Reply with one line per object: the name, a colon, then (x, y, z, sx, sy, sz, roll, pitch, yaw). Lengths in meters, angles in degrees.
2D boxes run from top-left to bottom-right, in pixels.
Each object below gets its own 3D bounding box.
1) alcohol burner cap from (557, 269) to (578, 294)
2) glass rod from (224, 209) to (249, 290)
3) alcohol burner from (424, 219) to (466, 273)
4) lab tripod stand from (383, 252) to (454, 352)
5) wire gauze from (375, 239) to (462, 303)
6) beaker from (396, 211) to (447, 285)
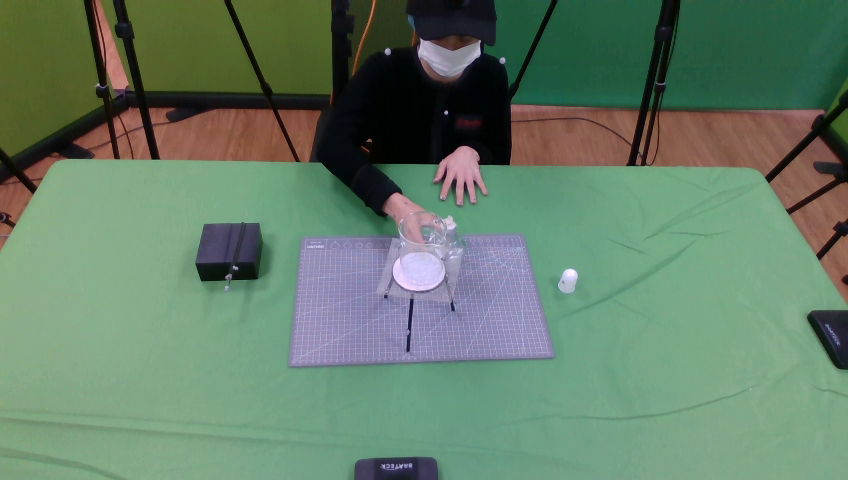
alcohol burner cap: (0.270, 0.075, 1.135, 0.034, 0.048, 0.033, 3, 46, -2)
glass rod: (-0.340, 0.013, 1.102, 0.008, 0.008, 0.198, 2, 45, -3)
alcohol burner: (0.040, 0.004, 1.105, 0.078, 0.119, 0.077, 4, 48, -4)
lab tripod stand: (-0.015, 0.094, 1.025, 0.148, 0.132, 0.147, 1, 46, -1)
wire gauze: (-0.006, 0.049, 0.978, 0.121, 0.011, 0.124, 10, 44, 5)
beaker: (-0.002, 0.017, 0.941, 0.083, 0.101, 0.074, 36, 54, 28)
